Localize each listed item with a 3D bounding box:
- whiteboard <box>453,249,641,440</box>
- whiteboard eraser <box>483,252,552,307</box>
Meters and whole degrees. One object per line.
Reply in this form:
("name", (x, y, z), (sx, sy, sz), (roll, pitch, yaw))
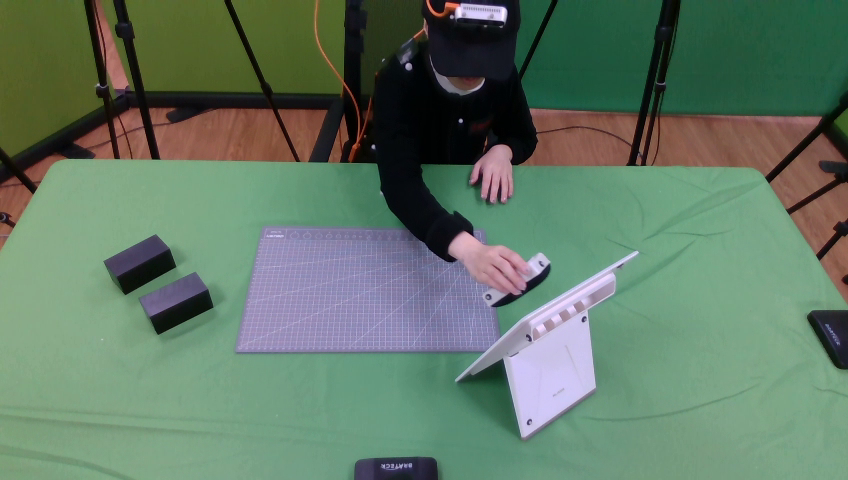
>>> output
("whiteboard", (0.206, 0.174, 0.890), (0.217, 0.306, 0.143), (-24, 72, -25))
("whiteboard eraser", (0.148, 0.066, 0.945), (0.042, 0.113, 0.055), (51, 36, 0))
